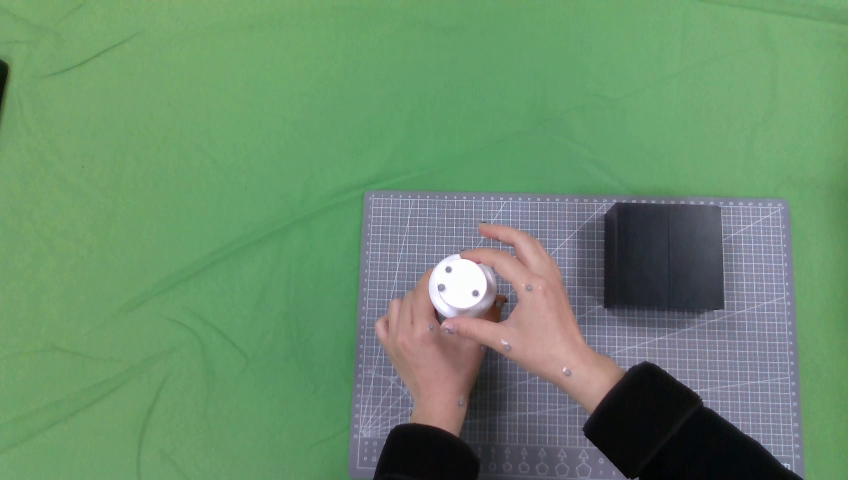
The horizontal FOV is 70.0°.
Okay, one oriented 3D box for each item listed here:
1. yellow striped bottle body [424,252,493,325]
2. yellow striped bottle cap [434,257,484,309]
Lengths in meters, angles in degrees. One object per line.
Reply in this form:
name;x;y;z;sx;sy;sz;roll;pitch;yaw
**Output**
yellow striped bottle body;0.033;0.047;0.580;0.063;0.121;0.062;-1;79;3
yellow striped bottle cap;0.030;0.037;0.527;0.044;0.019;0.044;-1;80;4
